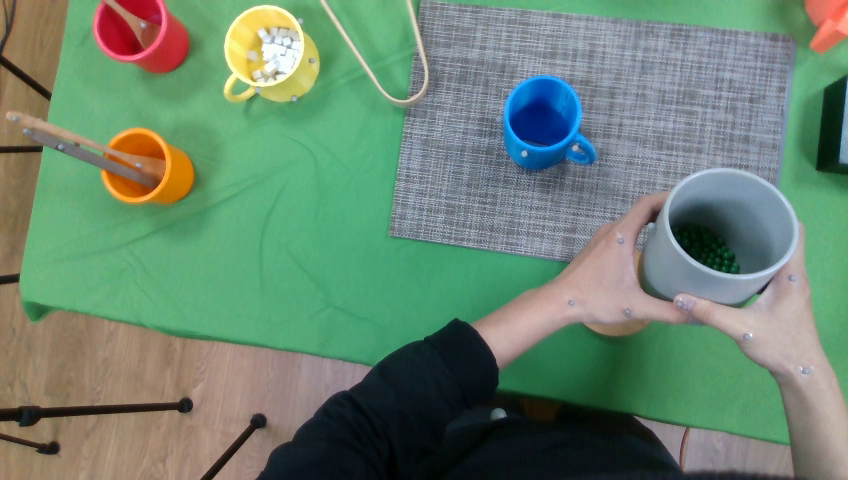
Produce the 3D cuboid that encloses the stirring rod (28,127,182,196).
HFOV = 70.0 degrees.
[{"bbox_3d":[-0.380,-0.092,0.733,0.006,0.178,0.014,-4,67,49],"label":"stirring rod"}]

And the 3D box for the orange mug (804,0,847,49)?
[{"bbox_3d":[0.478,-0.278,0.669,0.083,0.101,0.126,32,87,8],"label":"orange mug"}]

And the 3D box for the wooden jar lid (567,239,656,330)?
[{"bbox_3d":[0.224,0.053,0.720,0.108,0.021,0.108,0,91,8],"label":"wooden jar lid"}]

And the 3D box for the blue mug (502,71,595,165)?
[{"bbox_3d":[0.145,-0.127,0.692,0.116,0.106,0.082,34,91,7],"label":"blue mug"}]

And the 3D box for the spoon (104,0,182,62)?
[{"bbox_3d":[-0.385,-0.294,0.743,0.041,0.021,0.196,-48,127,1],"label":"spoon"}]

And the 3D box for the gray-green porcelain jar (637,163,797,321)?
[{"bbox_3d":[0.254,0.009,0.547,0.106,0.127,0.105,-3,62,6],"label":"gray-green porcelain jar"}]

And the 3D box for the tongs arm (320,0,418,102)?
[{"bbox_3d":[-0.126,-0.334,0.750,0.051,0.026,0.385,-30,92,1],"label":"tongs arm"}]

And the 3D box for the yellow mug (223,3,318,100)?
[{"bbox_3d":[-0.201,-0.223,0.759,0.131,0.064,0.099,-44,84,4],"label":"yellow mug"}]

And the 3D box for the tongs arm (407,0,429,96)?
[{"bbox_3d":[-0.050,-0.370,0.746,0.028,0.027,0.387,-16,92,-3],"label":"tongs arm"}]

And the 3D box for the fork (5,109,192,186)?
[{"bbox_3d":[-0.386,-0.111,0.732,0.209,0.018,0.028,22,89,-37],"label":"fork"}]
